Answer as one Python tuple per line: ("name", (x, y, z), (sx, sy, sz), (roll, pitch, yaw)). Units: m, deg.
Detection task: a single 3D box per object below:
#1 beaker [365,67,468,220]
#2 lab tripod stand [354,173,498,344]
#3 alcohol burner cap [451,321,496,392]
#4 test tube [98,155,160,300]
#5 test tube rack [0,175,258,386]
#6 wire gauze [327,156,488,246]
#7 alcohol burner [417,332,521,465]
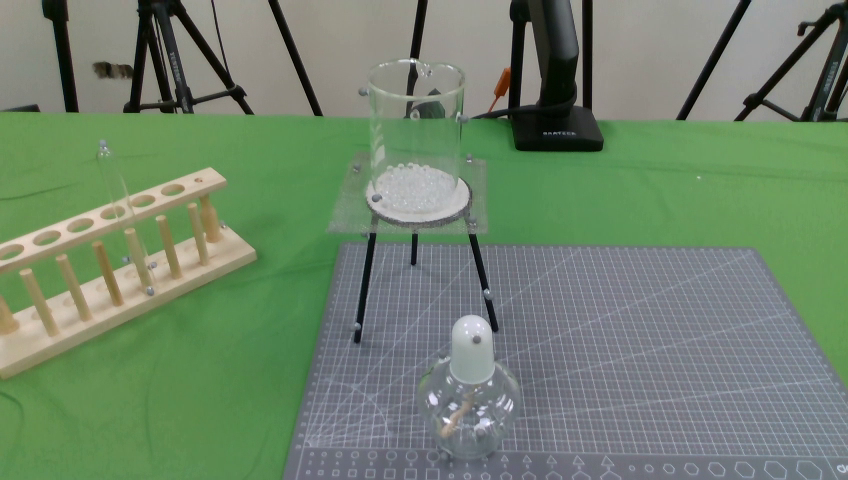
("beaker", (-0.006, -0.074, 0.469), (0.074, 0.101, 0.083), (8, 37, 7))
("lab tripod stand", (0.000, 0.018, 0.537), (0.148, 0.132, 0.147), (1, 35, -1))
("alcohol burner cap", (0.034, 0.077, 0.414), (0.034, 0.048, 0.033), (-2, 36, 2))
("test tube", (-0.263, -0.007, 0.542), (0.017, 0.151, 0.017), (1, 35, 0))
("test tube rack", (-0.287, 0.028, 0.570), (0.242, 0.086, 0.066), (-28, 45, -33))
("wire gauze", (-0.009, -0.034, 0.497), (0.121, 0.011, 0.124), (3, 38, 3))
("alcohol burner", (0.033, 0.106, 0.435), (0.078, 0.120, 0.077), (1, 38, 0))
